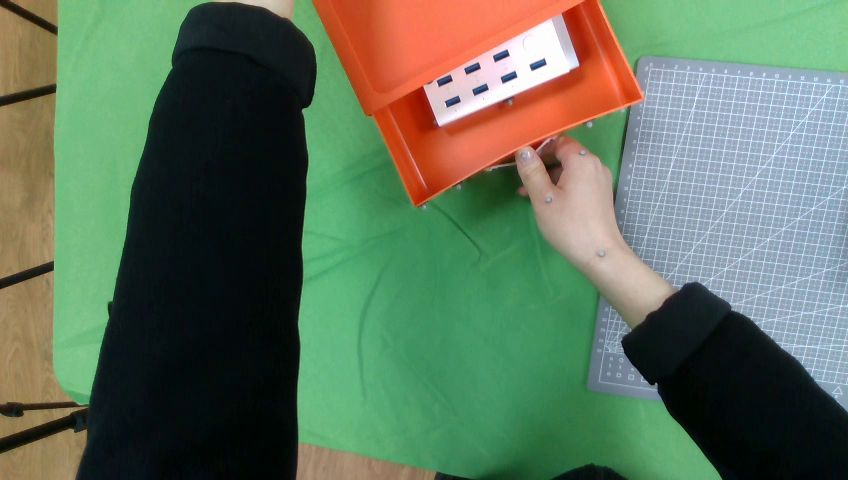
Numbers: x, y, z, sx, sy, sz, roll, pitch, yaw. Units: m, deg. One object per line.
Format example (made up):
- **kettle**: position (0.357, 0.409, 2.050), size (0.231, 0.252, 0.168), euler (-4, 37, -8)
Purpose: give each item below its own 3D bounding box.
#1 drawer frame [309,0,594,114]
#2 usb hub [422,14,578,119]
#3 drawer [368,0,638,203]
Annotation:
- **drawer frame**: position (0.000, -0.236, 0.471), size (0.201, 0.082, 0.214), euler (-25, 96, 12)
- **usb hub**: position (0.059, -0.144, 0.499), size (0.125, 0.025, 0.050), euler (-16, 108, 21)
- **drawer**: position (0.035, -0.164, 0.490), size (0.194, 0.073, 0.212), euler (-25, 94, 13)
